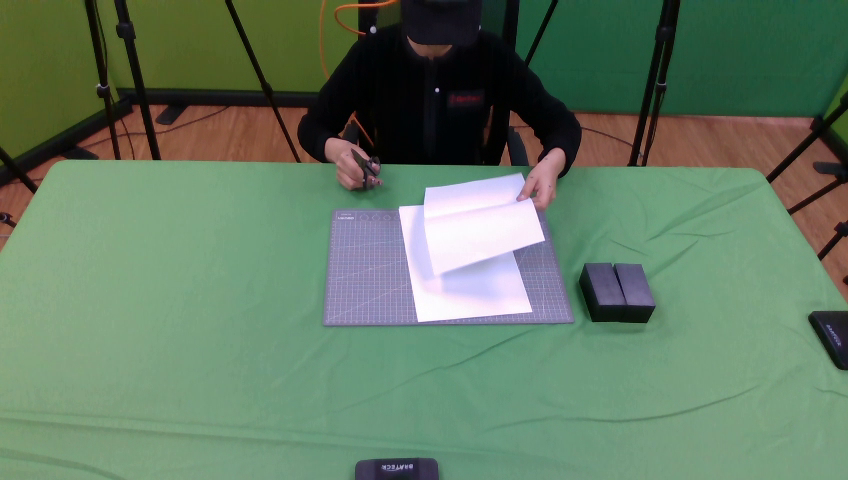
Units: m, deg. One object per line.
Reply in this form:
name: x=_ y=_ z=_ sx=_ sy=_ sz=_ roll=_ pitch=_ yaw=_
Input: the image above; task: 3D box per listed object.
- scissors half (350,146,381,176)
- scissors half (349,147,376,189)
scissors half: x=-0.118 y=-0.163 z=1.218 sx=0.013 sy=0.175 sz=0.040 roll=15 pitch=88 yaw=15
scissors half: x=-0.126 y=-0.145 z=1.215 sx=0.013 sy=0.176 sz=0.040 roll=21 pitch=74 yaw=16
